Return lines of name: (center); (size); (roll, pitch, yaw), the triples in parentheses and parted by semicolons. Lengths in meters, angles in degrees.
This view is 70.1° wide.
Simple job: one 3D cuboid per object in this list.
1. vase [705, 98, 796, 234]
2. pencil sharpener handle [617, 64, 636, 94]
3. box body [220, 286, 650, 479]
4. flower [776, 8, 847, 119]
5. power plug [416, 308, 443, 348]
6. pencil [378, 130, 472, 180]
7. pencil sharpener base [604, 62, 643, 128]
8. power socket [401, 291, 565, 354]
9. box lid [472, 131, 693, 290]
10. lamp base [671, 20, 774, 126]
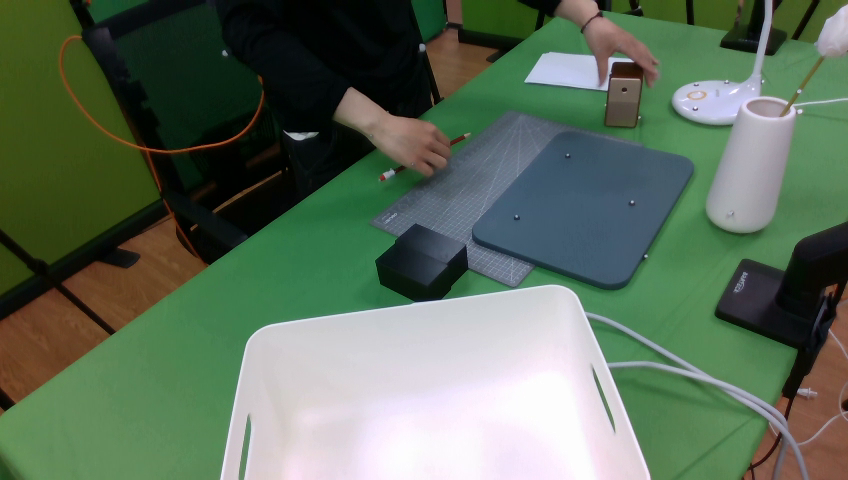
vase: (0.480, -0.104, 0.889); (0.098, 0.201, 0.097); (-4, 42, 4)
pencil sharpener handle: (0.401, -0.327, 1.211); (0.036, 0.068, 0.030); (16, 44, 9)
box body: (0.006, 0.210, 0.618); (0.364, 0.161, 0.252); (-8, 40, -1)
flower: (0.476, -0.156, 0.822); (0.038, 0.362, 0.044); (7, 58, 2)
power plug: (0.004, 0.121, 0.787); (0.035, 0.053, 0.072); (2, 46, 8)
pencil: (0.004, -0.153, 1.076); (0.194, 0.012, 0.012); (-28, 44, -11)
pencil sharpener base: (0.391, -0.284, 1.182); (0.061, 0.107, 0.076); (7, 42, 17)
power socket: (0.079, 0.111, 0.823); (0.227, 0.033, 0.072); (-5, 41, 1)
box lid: (0.273, -0.068, 1.020); (0.261, 0.015, 0.372); (20, 47, 28)
lamp base: (0.581, -0.332, 1.154); (0.179, 0.181, 0.160); (2, 41, 7)
